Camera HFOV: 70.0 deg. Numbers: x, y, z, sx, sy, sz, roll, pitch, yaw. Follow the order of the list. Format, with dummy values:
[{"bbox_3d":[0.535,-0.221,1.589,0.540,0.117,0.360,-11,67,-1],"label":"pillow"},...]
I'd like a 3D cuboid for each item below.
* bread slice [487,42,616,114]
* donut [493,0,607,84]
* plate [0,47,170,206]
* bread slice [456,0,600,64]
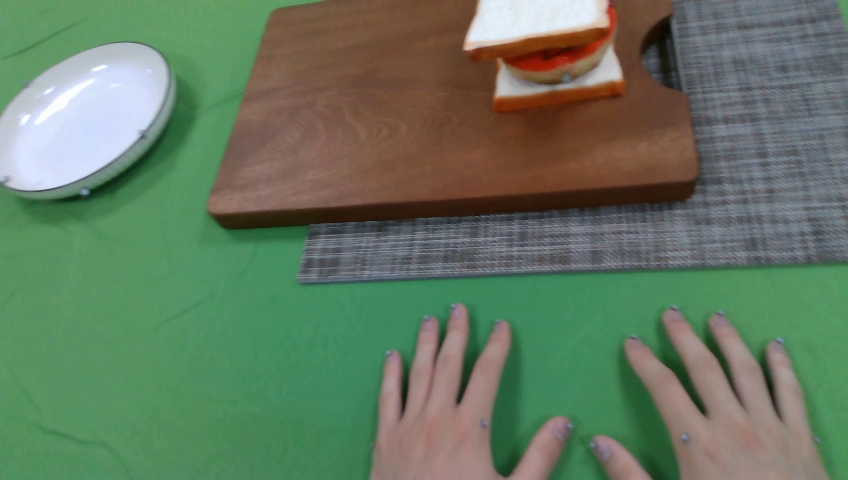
[{"bbox_3d":[0.103,-0.169,0.527,0.105,0.019,0.130,-6,59,10],"label":"bread slice"},{"bbox_3d":[0.098,-0.170,0.494,0.099,0.049,0.098,-8,58,12],"label":"donut"},{"bbox_3d":[-0.360,-0.119,0.640,0.209,0.038,0.207,-7,58,11],"label":"plate"},{"bbox_3d":[0.085,-0.194,0.477,0.106,0.018,0.133,-5,55,23],"label":"bread slice"}]
